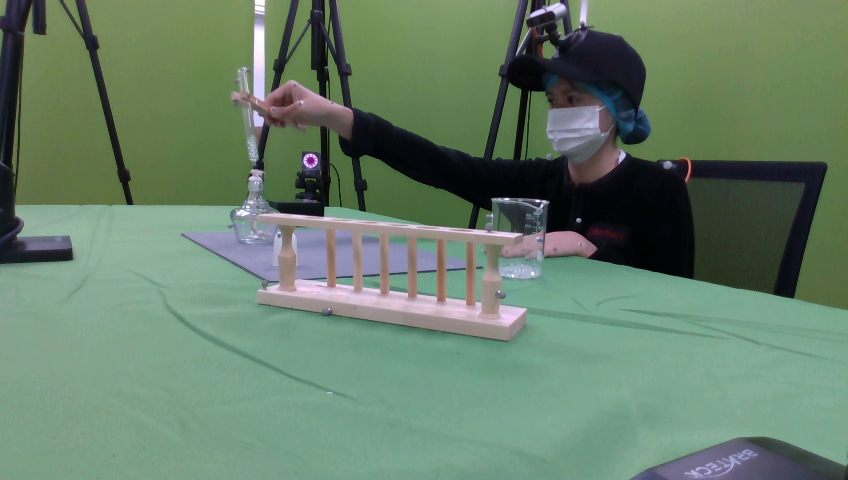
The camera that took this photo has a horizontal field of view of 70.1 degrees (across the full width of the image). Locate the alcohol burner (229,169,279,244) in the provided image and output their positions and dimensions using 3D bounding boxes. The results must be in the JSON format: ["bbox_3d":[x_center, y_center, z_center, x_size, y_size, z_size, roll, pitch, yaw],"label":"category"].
[{"bbox_3d":[-0.268,-0.053,0.958,0.078,0.119,0.078,2,5,0],"label":"alcohol burner"}]

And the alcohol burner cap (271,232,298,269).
[{"bbox_3d":[-0.175,0.012,0.760,0.034,0.048,0.034,2,8,0],"label":"alcohol burner cap"}]

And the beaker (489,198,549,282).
[{"bbox_3d":[0.120,-0.001,0.768,0.074,0.100,0.083,-1,9,-25],"label":"beaker"}]

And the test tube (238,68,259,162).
[{"bbox_3d":[-0.278,-0.197,0.957,0.017,0.150,0.017,-8,-3,0],"label":"test tube"}]

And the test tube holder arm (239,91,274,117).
[{"bbox_3d":[-0.269,-0.219,0.978,0.010,0.015,0.088,-5,-9,16],"label":"test tube holder arm"}]

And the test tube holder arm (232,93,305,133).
[{"bbox_3d":[-0.258,-0.212,1.021,0.013,0.015,0.179,-6,-9,24],"label":"test tube holder arm"}]

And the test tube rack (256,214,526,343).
[{"bbox_3d":[-0.032,0.027,0.547,0.241,0.085,0.067,6,7,22],"label":"test tube rack"}]
